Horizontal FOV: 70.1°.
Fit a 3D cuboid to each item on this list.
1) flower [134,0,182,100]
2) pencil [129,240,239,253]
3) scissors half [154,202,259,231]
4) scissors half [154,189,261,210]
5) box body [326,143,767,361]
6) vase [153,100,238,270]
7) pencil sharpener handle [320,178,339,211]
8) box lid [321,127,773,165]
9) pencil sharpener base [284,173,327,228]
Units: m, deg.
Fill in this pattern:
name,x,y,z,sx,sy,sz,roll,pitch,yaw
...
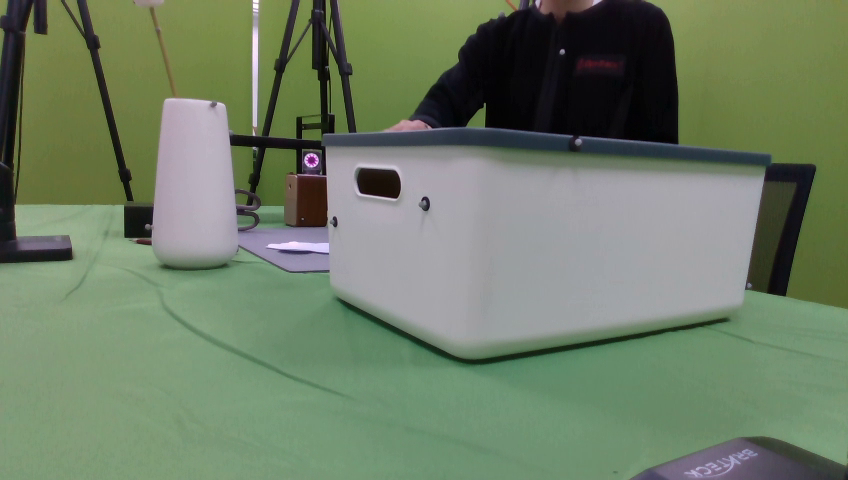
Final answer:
name,x,y,z,sx,sy,sz,roll,pitch,yaw
flower,-0.282,-0.146,0.712,0.038,0.362,0.044,-23,24,-31
pencil,-0.350,0.008,0.874,0.193,0.012,0.012,3,7,19
scissors half,-0.375,-0.046,1.051,0.176,0.040,0.013,13,-2,-28
scissors half,-0.373,-0.066,1.049,0.176,0.040,0.012,-6,12,-27
box body,0.111,-0.011,0.584,0.366,0.160,0.253,-2,9,-33
vase,-0.278,-0.066,0.736,0.098,0.200,0.098,2,9,0
pencil sharpener handle,-0.194,-0.095,1.256,0.031,0.067,0.036,-2,-6,-36
box lid,0.113,-0.084,0.573,0.373,0.015,0.262,-2,8,-33
pencil sharpener base,-0.239,-0.081,1.231,0.077,0.107,0.061,-2,8,-36
